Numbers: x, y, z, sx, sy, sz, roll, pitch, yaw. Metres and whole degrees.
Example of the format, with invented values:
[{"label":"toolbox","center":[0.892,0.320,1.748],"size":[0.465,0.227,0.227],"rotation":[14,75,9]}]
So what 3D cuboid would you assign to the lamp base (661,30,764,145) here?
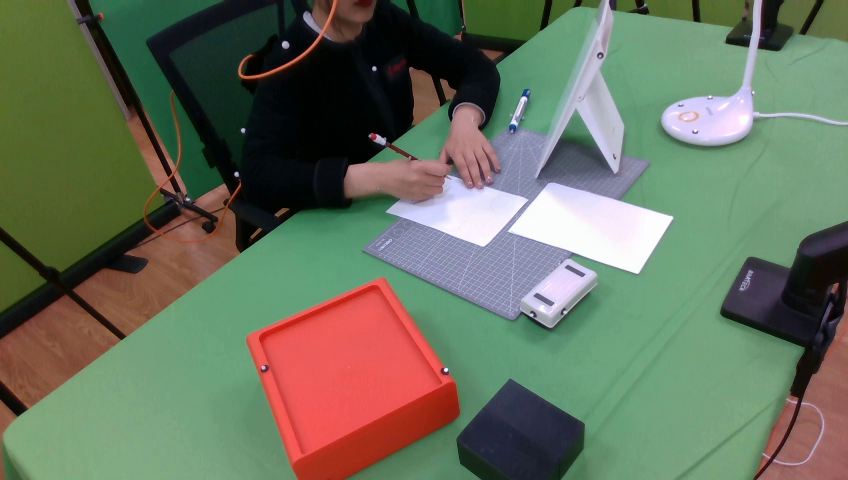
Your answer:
[{"label":"lamp base","center":[0.535,-0.287,1.096],"size":[0.179,0.181,0.159],"rotation":[-10,40,-4]}]

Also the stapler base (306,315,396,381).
[{"label":"stapler base","center":[-0.101,0.139,0.819],"size":[0.131,0.024,0.041],"rotation":[-31,37,-13]}]

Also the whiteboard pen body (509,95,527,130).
[{"label":"whiteboard pen body","center":[0.199,-0.273,1.262],"size":[0.017,0.017,0.140],"rotation":[8,44,19]}]

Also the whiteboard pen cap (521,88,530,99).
[{"label":"whiteboard pen cap","center":[0.218,-0.312,1.301],"size":[0.018,0.018,0.033],"rotation":[6,46,17]}]

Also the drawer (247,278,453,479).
[{"label":"drawer","center":[-0.096,0.167,0.758],"size":[0.195,0.073,0.210],"rotation":[-22,43,-16]}]

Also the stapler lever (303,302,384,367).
[{"label":"stapler lever","center":[-0.108,0.123,0.805],"size":[0.118,0.040,0.026],"rotation":[-27,36,-15]}]

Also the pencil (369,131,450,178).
[{"label":"pencil","center":[-0.019,-0.142,1.039],"size":[0.012,0.196,0.012],"rotation":[-22,57,39]}]

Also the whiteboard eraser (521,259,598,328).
[{"label":"whiteboard eraser","center":[0.189,0.076,0.843],"size":[0.055,0.042,0.113],"rotation":[29,53,37]}]

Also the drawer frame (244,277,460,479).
[{"label":"drawer frame","center":[-0.093,0.167,0.755],"size":[0.202,0.083,0.211],"rotation":[-23,43,-17]}]

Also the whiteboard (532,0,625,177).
[{"label":"whiteboard","center":[0.321,-0.258,1.050],"size":[0.144,0.306,0.217],"rotation":[21,45,5]}]
